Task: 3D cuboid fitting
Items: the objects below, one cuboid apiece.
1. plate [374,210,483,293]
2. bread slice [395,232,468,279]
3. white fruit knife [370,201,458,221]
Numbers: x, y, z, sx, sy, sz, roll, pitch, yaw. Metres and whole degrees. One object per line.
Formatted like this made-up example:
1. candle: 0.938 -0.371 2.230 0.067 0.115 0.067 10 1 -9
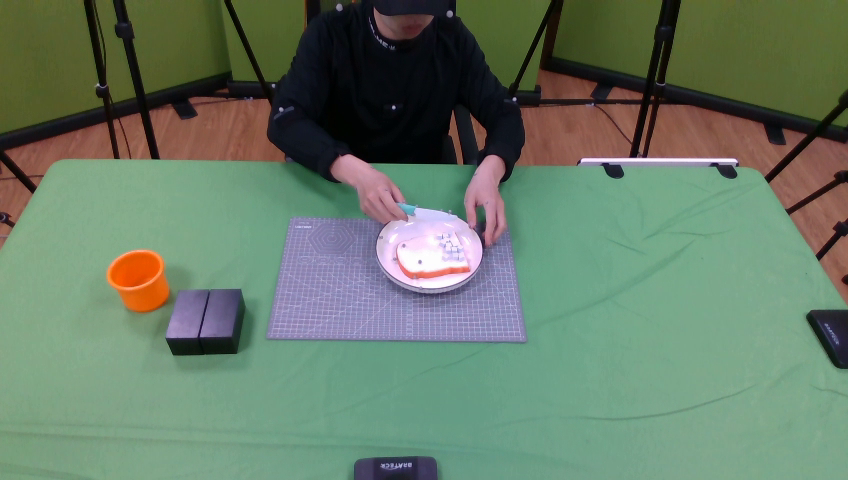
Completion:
1. plate: 0.009 0.024 1.160 0.209 0.038 0.208 2 46 -2
2. bread slice: 0.011 0.030 1.159 0.132 0.019 0.104 -8 47 -15
3. white fruit knife: -0.022 -0.053 1.131 0.206 0.027 0.016 9 26 36
